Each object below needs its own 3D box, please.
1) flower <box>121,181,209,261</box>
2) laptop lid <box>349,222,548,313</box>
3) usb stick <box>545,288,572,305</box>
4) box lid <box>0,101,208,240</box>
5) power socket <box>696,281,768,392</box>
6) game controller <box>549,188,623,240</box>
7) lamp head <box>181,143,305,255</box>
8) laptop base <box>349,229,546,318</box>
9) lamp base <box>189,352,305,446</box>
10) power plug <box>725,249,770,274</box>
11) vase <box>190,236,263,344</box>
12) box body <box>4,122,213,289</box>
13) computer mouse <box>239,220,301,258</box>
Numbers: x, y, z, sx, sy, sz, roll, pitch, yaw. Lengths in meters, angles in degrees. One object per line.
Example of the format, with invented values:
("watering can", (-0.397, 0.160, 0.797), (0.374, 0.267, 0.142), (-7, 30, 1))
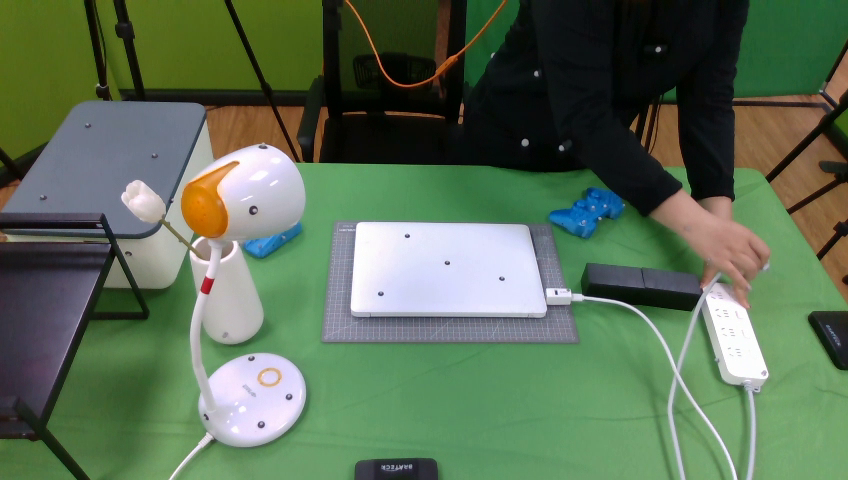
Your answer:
("flower", (-0.329, 0.030, 0.905), (0.038, 0.364, 0.044), (-22, 58, -1))
("laptop lid", (0.041, 0.046, 1.142), (0.357, 0.013, 0.240), (2, 44, -3))
("usb stick", (0.237, 0.103, 1.099), (0.059, 0.027, 0.021), (-3, 49, 6))
("box lid", (-0.559, -0.137, 1.084), (0.263, 0.015, 0.369), (2, 46, -2))
("power socket", (0.543, 0.161, 1.076), (0.072, 0.033, 0.225), (5, 46, 2))
("game controller", (0.346, -0.064, 1.271), (0.155, 0.052, 0.096), (-31, 58, -28))
("lamp head", (-0.216, -0.044, 0.697), (0.112, 0.113, 0.123), (23, 31, 17))
("laptop base", (0.041, 0.056, 1.148), (0.355, 0.023, 0.234), (1, 42, -4))
("lamp base", (-0.268, 0.197, 0.876), (0.160, 0.181, 0.179), (26, 52, 20))
("power plug", (0.523, 0.035, 0.988), (0.072, 0.053, 0.035), (6, 53, 13))
("vase", (-0.317, 0.081, 0.971), (0.098, 0.201, 0.097), (3, 47, -3))
("box body", (-0.563, -0.087, 1.139), (0.254, 0.161, 0.361), (2, 46, -3))
("computer mouse", (-0.300, -0.016, 1.178), (0.062, 0.041, 0.117), (35, 58, 23))
